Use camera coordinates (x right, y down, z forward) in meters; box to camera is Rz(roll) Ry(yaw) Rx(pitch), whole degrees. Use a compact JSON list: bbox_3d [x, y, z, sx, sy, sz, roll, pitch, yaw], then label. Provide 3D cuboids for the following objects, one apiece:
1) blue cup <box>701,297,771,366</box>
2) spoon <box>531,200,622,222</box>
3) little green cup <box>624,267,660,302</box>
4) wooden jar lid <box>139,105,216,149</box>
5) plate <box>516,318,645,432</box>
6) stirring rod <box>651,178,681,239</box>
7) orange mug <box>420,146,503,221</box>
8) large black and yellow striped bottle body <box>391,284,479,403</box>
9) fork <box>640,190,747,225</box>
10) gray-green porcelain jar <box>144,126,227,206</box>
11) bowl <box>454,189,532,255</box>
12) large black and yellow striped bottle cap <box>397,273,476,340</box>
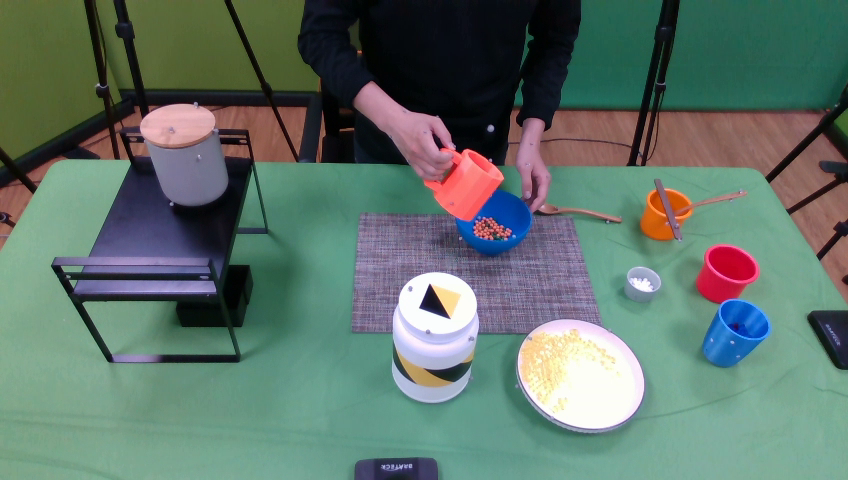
[{"bbox_3d":[0.519,0.162,1.025,0.093,0.101,0.092,3,45,-3],"label":"blue cup"},{"bbox_3d":[0.321,-0.060,1.279,0.194,0.022,0.041,8,31,4],"label":"spoon"},{"bbox_3d":[0.406,0.084,1.135,0.061,0.039,0.061,3,45,-3],"label":"little green cup"},{"bbox_3d":[-0.372,-0.169,0.920,0.108,0.021,0.107,4,43,-4],"label":"wooden jar lid"},{"bbox_3d":[0.253,0.221,0.992,0.209,0.038,0.208,2,46,-2],"label":"plate"},{"bbox_3d":[0.480,-0.065,1.204,0.014,0.006,0.175,3,46,-3],"label":"stirring rod"},{"bbox_3d":[0.061,-0.106,1.051,0.127,0.101,0.083,32,24,-22],"label":"orange mug"},{"bbox_3d":[0.015,0.153,0.937,0.131,0.185,0.130,2,46,-2],"label":"large black and yellow striped bottle body"},{"bbox_3d":[0.533,-0.065,1.211,0.207,0.019,0.028,-22,28,39],"label":"fork"},{"bbox_3d":[-0.375,-0.125,0.967,0.106,0.127,0.105,2,46,-2],"label":"gray-green porcelain jar"},{"bbox_3d":[0.130,-0.024,1.186,0.151,0.077,0.150,2,45,-2],"label":"bowl"},{"bbox_3d":[0.018,0.094,0.878,0.115,0.019,0.114,3,46,-3],"label":"large black and yellow striped bottle cap"}]
